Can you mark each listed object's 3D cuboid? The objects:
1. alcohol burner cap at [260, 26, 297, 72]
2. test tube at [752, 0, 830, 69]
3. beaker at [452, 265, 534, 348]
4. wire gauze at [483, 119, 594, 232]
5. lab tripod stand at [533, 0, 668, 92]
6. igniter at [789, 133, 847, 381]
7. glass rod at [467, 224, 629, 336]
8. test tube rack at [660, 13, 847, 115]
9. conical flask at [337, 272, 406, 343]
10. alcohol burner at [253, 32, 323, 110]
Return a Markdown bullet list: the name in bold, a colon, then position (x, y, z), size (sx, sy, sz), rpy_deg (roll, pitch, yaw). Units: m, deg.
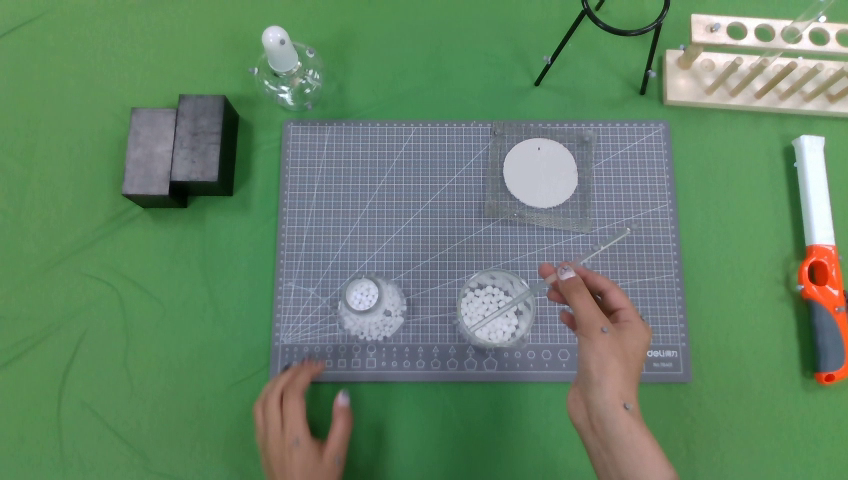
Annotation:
- **alcohol burner cap**: position (-0.153, -0.202, 0.630), size (0.034, 0.048, 0.033), rpy_deg (0, 71, -1)
- **test tube**: position (0.386, -0.222, 0.638), size (0.017, 0.151, 0.017), rpy_deg (-1, 77, 3)
- **beaker**: position (0.068, 0.074, 0.613), size (0.074, 0.100, 0.083), rpy_deg (-36, 80, -7)
- **wire gauze**: position (0.132, -0.076, 0.692), size (0.125, 0.011, 0.121), rpy_deg (8, 78, -1)
- **lab tripod stand**: position (0.197, -0.230, 0.665), size (0.148, 0.132, 0.148), rpy_deg (0, 79, 0)
- **igniter**: position (0.434, 0.014, 0.667), size (0.057, 0.025, 0.275), rpy_deg (4, 78, -9)
- **glass rod**: position (0.102, 0.041, 0.538), size (0.008, 0.200, 0.008), rpy_deg (26, 43, -27)
- **test tube rack**: position (0.403, -0.196, 0.682), size (0.242, 0.085, 0.066), rpy_deg (4, 77, 1)
- **conical flask**: position (-0.057, 0.062, 0.603), size (0.075, 0.122, 0.075), rpy_deg (0, 77, 0)
- **alcohol burner**: position (-0.153, -0.192, 0.665), size (0.078, 0.119, 0.077), rpy_deg (0, 78, 2)
